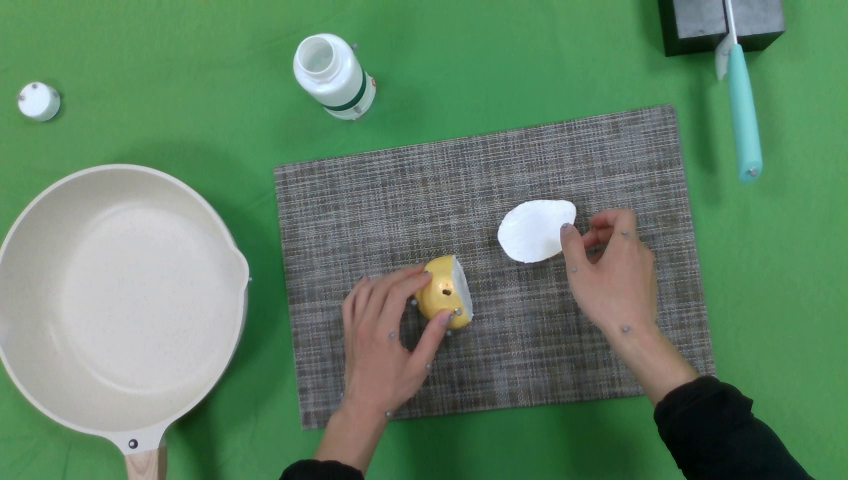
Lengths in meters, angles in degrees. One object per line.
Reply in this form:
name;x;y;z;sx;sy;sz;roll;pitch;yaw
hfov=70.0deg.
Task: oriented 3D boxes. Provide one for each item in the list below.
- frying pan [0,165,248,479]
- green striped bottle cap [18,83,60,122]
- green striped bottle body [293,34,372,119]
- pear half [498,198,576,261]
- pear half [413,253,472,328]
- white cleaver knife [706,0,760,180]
frying pan;-0.310;0.165;0.655;0.306;0.103;0.485;-13;77;7
green striped bottle cap;-0.466;-0.166;0.733;0.044;0.020;0.044;-1;86;8
green striped bottle body;-0.097;-0.173;0.639;0.063;0.119;0.063;0;86;7
pear half;0.122;-0.010;0.644;0.088;0.031;0.070;-31;67;-7
pear half;0.015;0.054;0.616;0.056;0.110;0.076;-21;81;7
white cleaver knife;0.309;-0.202;0.619;0.021;0.066;0.285;-5;84;12
